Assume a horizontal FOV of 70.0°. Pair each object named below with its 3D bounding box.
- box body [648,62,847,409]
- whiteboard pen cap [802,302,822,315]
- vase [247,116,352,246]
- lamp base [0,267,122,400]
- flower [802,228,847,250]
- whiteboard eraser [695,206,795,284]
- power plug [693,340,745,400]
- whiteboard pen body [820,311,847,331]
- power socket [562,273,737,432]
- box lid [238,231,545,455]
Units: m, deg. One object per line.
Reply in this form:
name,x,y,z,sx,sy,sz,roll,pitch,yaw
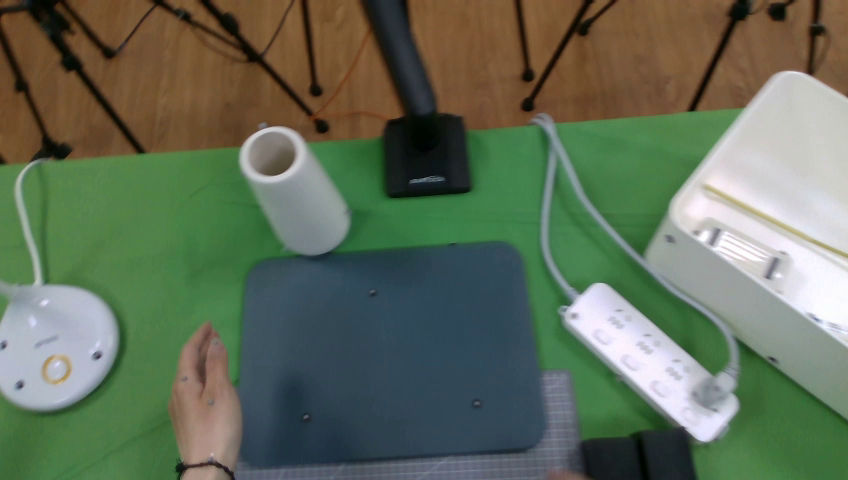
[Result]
box body,0.475,0.015,0.684,0.362,0.161,0.254,40,76,16
whiteboard pen cap,0.459,0.084,0.728,0.033,0.018,0.018,16,71,11
vase,-0.147,-0.067,0.732,0.098,0.201,0.097,-1,68,2
lamp base,-0.477,0.085,0.703,0.160,0.181,0.178,-33,68,-9
flower,0.522,0.007,0.753,0.358,0.038,0.044,28,63,30
whiteboard eraser,0.389,0.009,0.747,0.112,0.042,0.055,31,76,11
power plug,0.338,0.152,0.685,0.072,0.053,0.035,-31,69,-13
whiteboard pen body,0.514,0.103,0.719,0.140,0.017,0.017,15,71,11
power socket,0.267,0.131,0.722,0.072,0.033,0.225,-42,72,-12
box lid,-0.042,0.121,0.755,0.371,0.015,0.261,-4,69,2
